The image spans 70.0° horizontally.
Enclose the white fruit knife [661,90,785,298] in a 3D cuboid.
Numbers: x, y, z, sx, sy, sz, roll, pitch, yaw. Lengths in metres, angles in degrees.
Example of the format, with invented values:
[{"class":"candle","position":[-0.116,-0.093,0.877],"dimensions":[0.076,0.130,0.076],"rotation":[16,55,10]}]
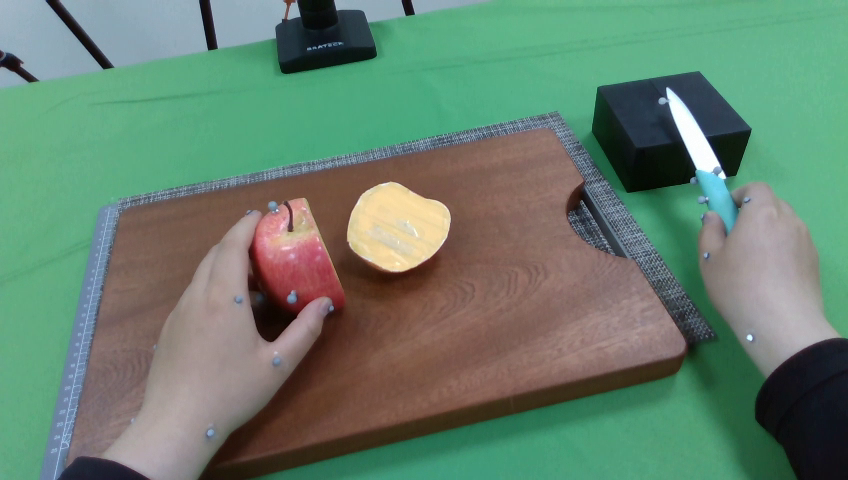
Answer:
[{"class":"white fruit knife","position":[0.227,-0.046,0.481],"dimensions":[0.027,0.016,0.205],"rotation":[-4,57,-10]}]

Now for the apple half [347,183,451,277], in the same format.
[{"class":"apple half","position":[-0.021,-0.001,0.467],"dimensions":[0.081,0.033,0.080],"rotation":[0,61,0]}]

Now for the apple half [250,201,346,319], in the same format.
[{"class":"apple half","position":[-0.092,0.020,0.426],"dimensions":[0.053,0.075,0.080],"rotation":[-23,50,-9]}]
